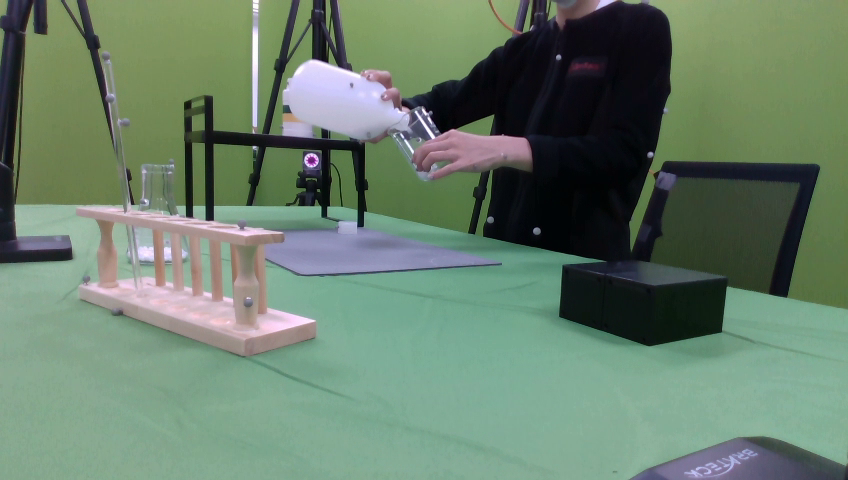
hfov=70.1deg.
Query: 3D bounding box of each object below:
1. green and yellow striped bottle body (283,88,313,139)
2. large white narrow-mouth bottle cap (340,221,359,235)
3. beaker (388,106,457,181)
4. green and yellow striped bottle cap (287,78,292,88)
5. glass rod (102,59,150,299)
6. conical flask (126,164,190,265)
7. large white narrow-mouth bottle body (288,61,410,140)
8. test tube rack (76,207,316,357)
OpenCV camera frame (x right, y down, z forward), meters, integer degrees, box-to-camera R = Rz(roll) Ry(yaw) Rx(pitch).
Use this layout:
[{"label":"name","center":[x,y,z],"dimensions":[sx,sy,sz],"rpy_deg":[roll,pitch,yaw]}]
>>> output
[{"label":"green and yellow striped bottle body","center":[-0.266,-0.275,1.275],"dimensions":[0.063,0.119,0.063],"rpy_deg":[2,7,0]},{"label":"large white narrow-mouth bottle cap","center":[-0.139,-0.023,1.127],"dimensions":[0.038,0.024,0.037],"rpy_deg":[4,8,0]},{"label":"beaker","center":[-0.001,-0.153,0.967],"dimensions":[0.074,0.100,0.084],"rpy_deg":[-36,-5,18]},{"label":"green and yellow striped bottle cap","center":[-0.265,-0.326,1.268],"dimensions":[0.045,0.020,0.045],"rpy_deg":[4,6,0]},{"label":"glass rod","center":[-0.243,-0.045,0.496],"dimensions":[0.008,0.199,0.008],"rpy_deg":[-4,13,1]},{"label":"conical flask","center":[-0.332,-0.033,0.756],"dimensions":[0.075,0.122,0.075],"rpy_deg":[2,8,0]},{"label":"large white narrow-mouth bottle body","center":[-0.117,-0.220,0.990],"dimensions":[0.194,0.101,0.102],"rpy_deg":[21,12,13]},{"label":"test tube rack","center":[-0.196,0.023,0.500],"dimensions":[0.241,0.085,0.067],"rpy_deg":[8,9,36]}]
